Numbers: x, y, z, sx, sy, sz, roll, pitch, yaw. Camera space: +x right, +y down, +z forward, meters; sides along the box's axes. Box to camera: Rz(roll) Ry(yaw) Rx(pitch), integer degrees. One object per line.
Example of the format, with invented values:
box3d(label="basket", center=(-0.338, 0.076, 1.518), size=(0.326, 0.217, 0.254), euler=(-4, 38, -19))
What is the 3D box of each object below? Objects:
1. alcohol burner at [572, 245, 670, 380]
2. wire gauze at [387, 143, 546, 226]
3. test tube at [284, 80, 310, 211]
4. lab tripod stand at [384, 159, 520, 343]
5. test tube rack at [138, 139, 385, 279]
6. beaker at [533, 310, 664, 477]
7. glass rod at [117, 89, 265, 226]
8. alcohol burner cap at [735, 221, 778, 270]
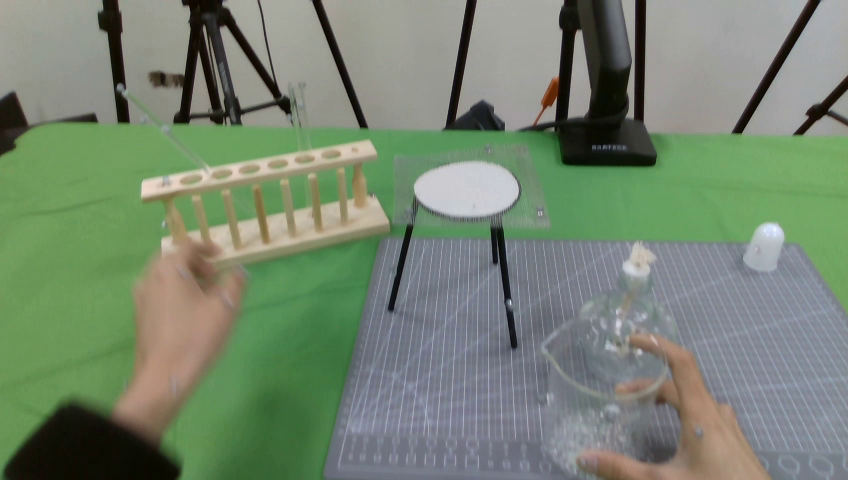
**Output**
box3d(label="alcohol burner", center=(0.161, 0.055, 0.489), size=(0.078, 0.120, 0.077), euler=(-1, 35, 1))
box3d(label="wire gauze", center=(0.030, -0.047, 0.503), size=(0.125, 0.011, 0.120), euler=(-3, 36, 0))
box3d(label="test tube", center=(-0.134, -0.098, 0.655), size=(0.017, 0.151, 0.017), euler=(0, 34, 0))
box3d(label="lab tripod stand", center=(0.033, 0.007, 0.543), size=(0.148, 0.132, 0.147), euler=(-2, 38, 2))
box3d(label="test tube rack", center=(-0.169, -0.037, 0.657), size=(0.243, 0.086, 0.066), euler=(-13, 38, -15))
box3d(label="beaker", center=(0.116, 0.111, 0.427), size=(0.084, 0.101, 0.073), euler=(6, 37, 13))
box3d(label="glass rod", center=(-0.230, -0.076, 0.618), size=(0.008, 0.202, 0.008), euler=(-22, 41, 21))
box3d(label="alcohol burner cap", center=(0.338, 0.003, 0.613), size=(0.034, 0.048, 0.033), euler=(-1, 36, 1))
